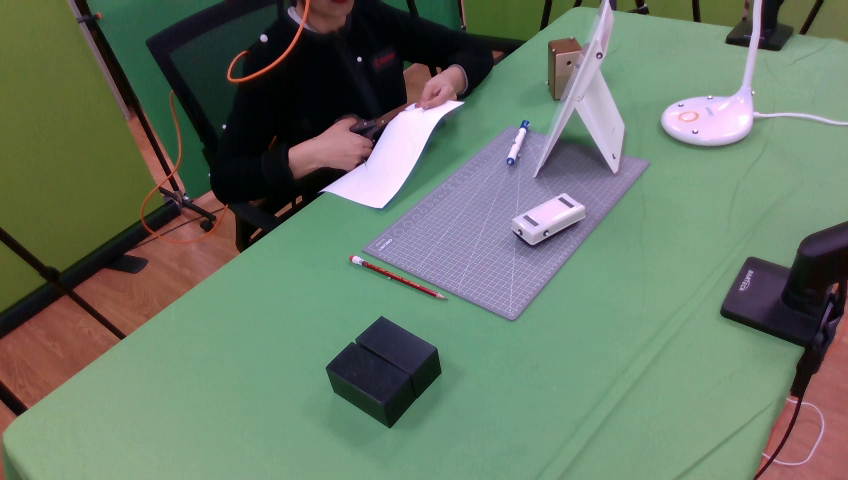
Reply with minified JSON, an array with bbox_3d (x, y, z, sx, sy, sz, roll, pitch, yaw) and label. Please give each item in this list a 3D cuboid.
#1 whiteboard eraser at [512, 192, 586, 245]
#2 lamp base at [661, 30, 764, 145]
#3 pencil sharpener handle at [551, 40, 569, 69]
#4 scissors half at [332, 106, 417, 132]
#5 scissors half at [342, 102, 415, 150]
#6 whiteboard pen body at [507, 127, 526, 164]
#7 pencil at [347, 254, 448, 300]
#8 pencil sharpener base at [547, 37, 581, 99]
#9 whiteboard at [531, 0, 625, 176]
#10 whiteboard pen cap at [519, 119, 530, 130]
[{"bbox_3d":[0.199,-0.032,0.962,0.113,0.042,0.055,-27,43,-20],"label":"whiteboard eraser"},{"bbox_3d":[0.535,-0.287,1.096,0.179,0.181,0.159,-10,40,-4],"label":"lamp base"},{"bbox_3d":[0.291,-0.409,1.320,0.036,0.068,0.030,2,40,-6],"label":"pencil sharpener handle"},{"bbox_3d":[-0.100,-0.248,1.211,0.175,0.040,0.013,-10,38,3],"label":"scissors half"},{"bbox_3d":[-0.091,-0.232,1.223,0.175,0.040,0.012,-31,29,18],"label":"scissors half"},{"bbox_3d":[0.181,-0.189,1.162,0.017,0.017,0.140,7,42,19],"label":"whiteboard pen body"},{"bbox_3d":[-0.044,0.057,0.933,0.192,0.012,0.012,21,49,29],"label":"pencil"},{"bbox_3d":[0.299,-0.368,1.290,0.061,0.107,0.076,-8,40,2],"label":"pencil sharpener base"},{"bbox_3d":[0.320,-0.258,1.050,0.144,0.306,0.217,22,45,5],"label":"whiteboard"},{"bbox_3d":[0.199,-0.226,1.204,0.018,0.018,0.033,7,41,18],"label":"whiteboard pen cap"}]
